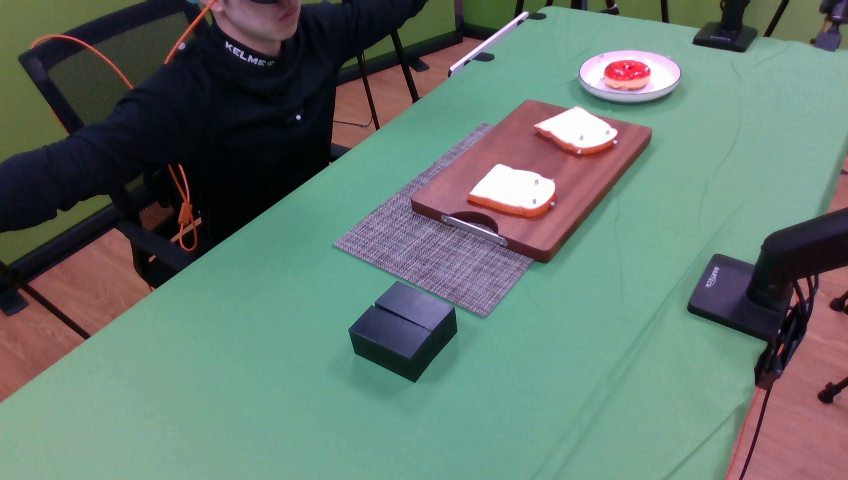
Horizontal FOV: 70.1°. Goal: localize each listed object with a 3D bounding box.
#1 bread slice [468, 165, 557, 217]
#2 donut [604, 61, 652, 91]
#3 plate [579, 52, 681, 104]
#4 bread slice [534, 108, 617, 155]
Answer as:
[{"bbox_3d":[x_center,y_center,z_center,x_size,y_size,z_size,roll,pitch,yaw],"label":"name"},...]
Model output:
[{"bbox_3d":[0.154,-0.083,1.003,0.130,0.019,0.105,18,48,29],"label":"bread slice"},{"bbox_3d":[0.432,-0.349,1.285,0.099,0.048,0.098,-4,38,4],"label":"donut"},{"bbox_3d":[0.437,-0.343,1.294,0.209,0.038,0.208,-4,40,4],"label":"plate"},{"bbox_3d":[0.289,-0.200,1.121,0.107,0.018,0.133,-27,43,-22],"label":"bread slice"}]
